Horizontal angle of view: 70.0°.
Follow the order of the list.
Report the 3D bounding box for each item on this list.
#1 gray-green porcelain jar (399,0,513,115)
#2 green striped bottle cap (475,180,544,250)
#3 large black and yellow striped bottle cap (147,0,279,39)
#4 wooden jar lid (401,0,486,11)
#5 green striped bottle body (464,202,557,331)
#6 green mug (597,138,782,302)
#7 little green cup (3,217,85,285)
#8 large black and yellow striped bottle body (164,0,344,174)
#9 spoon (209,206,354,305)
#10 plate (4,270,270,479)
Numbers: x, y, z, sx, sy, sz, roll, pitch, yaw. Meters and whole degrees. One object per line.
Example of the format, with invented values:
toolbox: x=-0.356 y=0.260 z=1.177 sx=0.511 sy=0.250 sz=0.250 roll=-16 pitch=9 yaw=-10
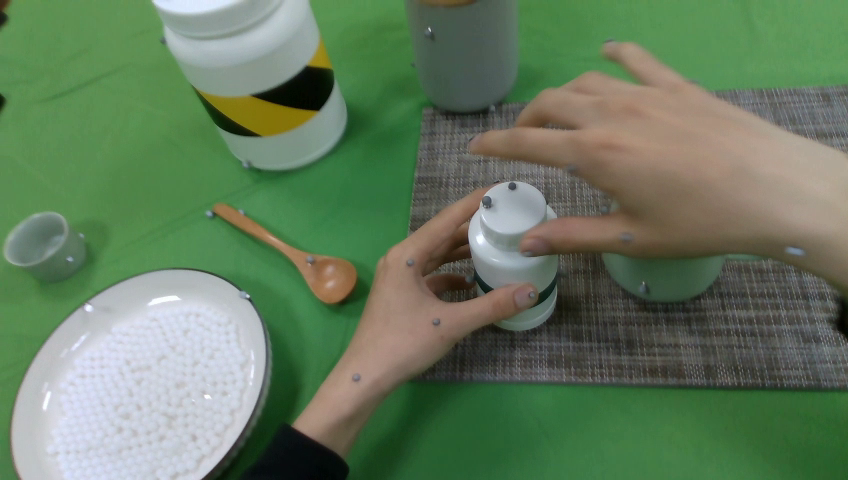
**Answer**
gray-green porcelain jar: x=0.035 y=-0.198 z=0.599 sx=0.106 sy=0.128 sz=0.105 roll=-4 pitch=52 yaw=6
green striped bottle cap: x=0.056 y=-0.016 z=0.393 sx=0.044 sy=0.020 sz=0.044 roll=-4 pitch=60 yaw=7
large black and yellow striped bottle cap: x=-0.175 y=-0.212 z=0.511 sx=0.115 sy=0.019 sz=0.114 roll=-4 pitch=55 yaw=6
wooden jar lid: x=0.026 y=-0.237 z=0.550 sx=0.108 sy=0.021 sz=0.107 roll=-7 pitch=54 yaw=9
green striped bottle body: x=0.063 y=0.012 z=0.435 sx=0.063 sy=0.120 sz=0.062 roll=-5 pitch=55 yaw=7
green mug: x=0.198 y=-0.011 z=0.456 sx=0.125 sy=0.106 sz=0.092 roll=7 pitch=57 yaw=14
little green cup: x=-0.362 y=0.012 z=0.582 sx=0.061 sy=0.039 sz=0.061 roll=-4 pitch=56 yaw=6
large black and yellow striped bottle body: x=-0.161 y=-0.167 z=0.580 sx=0.130 sy=0.186 sz=0.129 roll=-4 pitch=56 yaw=7
spoon: x=-0.136 y=0.006 z=0.557 sx=0.192 sy=0.022 sz=0.041 roll=28 pitch=85 yaw=25
plate: x=-0.220 y=0.121 z=0.484 sx=0.209 sy=0.038 sz=0.207 roll=-4 pitch=55 yaw=7
